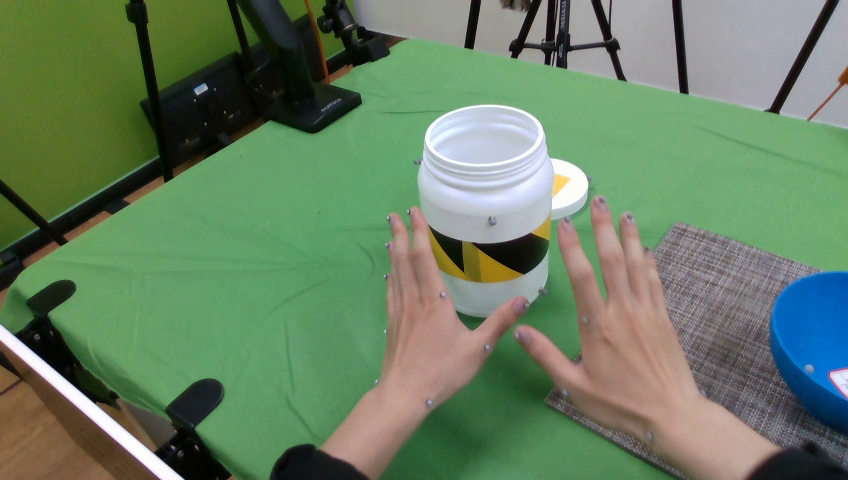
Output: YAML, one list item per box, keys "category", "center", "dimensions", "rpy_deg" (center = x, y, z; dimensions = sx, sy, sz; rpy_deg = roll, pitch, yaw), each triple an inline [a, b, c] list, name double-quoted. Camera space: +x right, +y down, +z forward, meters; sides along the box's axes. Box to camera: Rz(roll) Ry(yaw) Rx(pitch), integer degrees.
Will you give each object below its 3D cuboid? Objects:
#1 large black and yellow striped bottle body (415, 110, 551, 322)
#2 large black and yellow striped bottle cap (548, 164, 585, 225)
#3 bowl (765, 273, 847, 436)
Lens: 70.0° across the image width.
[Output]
- category: "large black and yellow striped bottle body"
  center: [0.059, -0.023, 0.607]
  dimensions: [0.131, 0.186, 0.129]
  rpy_deg: [-3, 40, 3]
- category: "large black and yellow striped bottle cap"
  center: [0.146, -0.061, 0.772]
  dimensions: [0.115, 0.019, 0.114]
  rpy_deg: [-3, 41, 3]
- category: "bowl"
  center: [0.351, 0.106, 0.491]
  dimensions: [0.151, 0.077, 0.150]
  rpy_deg: [-4, 40, 3]
